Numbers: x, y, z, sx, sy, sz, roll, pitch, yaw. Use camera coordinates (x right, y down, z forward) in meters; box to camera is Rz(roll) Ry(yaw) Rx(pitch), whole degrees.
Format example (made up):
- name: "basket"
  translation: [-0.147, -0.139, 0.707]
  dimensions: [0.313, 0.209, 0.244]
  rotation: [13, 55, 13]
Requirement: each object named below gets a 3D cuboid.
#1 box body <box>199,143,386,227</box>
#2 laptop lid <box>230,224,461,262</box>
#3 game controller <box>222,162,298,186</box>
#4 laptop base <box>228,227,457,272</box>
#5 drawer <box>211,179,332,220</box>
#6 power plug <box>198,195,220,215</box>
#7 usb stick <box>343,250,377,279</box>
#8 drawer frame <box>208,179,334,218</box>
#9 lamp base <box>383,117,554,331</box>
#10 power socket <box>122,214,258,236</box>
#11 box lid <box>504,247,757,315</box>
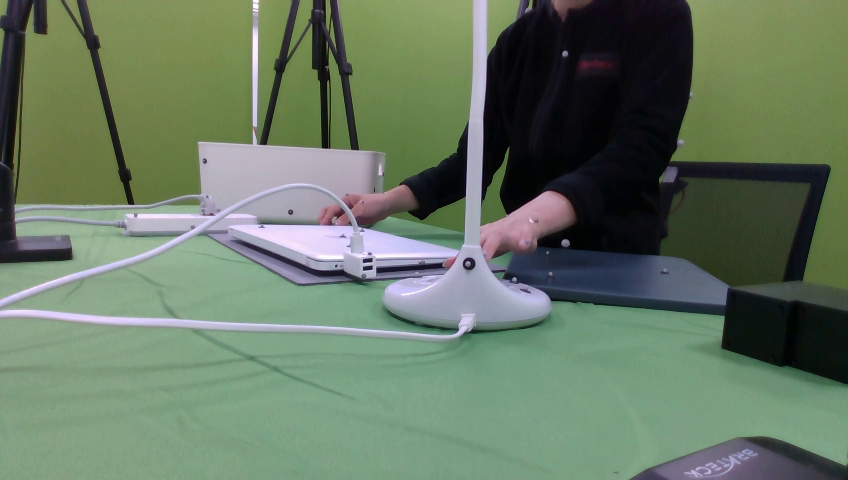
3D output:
- name: "box body"
  translation: [-0.276, -0.124, 1.334]
  dimensions: [0.364, 0.160, 0.254]
  rotation: [3, 7, 1]
- name: "laptop lid"
  translation: [-0.120, 0.000, 0.889]
  dimensions: [0.243, 0.013, 0.355]
  rotation: [1, 7, -33]
- name: "game controller"
  translation: [-0.357, -0.143, 1.321]
  dimensions: [0.156, 0.051, 0.097]
  rotation: [1, 2, -16]
- name: "laptop base"
  translation: [-0.122, 0.012, 0.889]
  dimensions: [0.237, 0.023, 0.352]
  rotation: [2, 6, -35]
- name: "drawer"
  translation: [-0.328, -0.095, 1.332]
  dimensions: [0.212, 0.073, 0.194]
  rotation: [5, 8, 6]
- name: "power plug"
  translation: [-0.387, -0.055, 1.089]
  dimensions: [0.035, 0.052, 0.072]
  rotation: [-1, 7, -22]
- name: "usb stick"
  translation: [-0.076, 0.026, 0.687]
  dimensions: [0.021, 0.027, 0.059]
  rotation: [-8, 8, -31]
- name: "drawer frame"
  translation: [-0.327, -0.093, 1.328]
  dimensions: [0.213, 0.082, 0.202]
  rotation: [-1, 5, 6]
- name: "lamp base"
  translation: [0.045, -0.019, 0.548]
  dimensions: [0.161, 0.180, 0.179]
  rotation: [2, 10, -4]
- name: "power socket"
  translation: [-0.399, -0.028, 1.049]
  dimensions: [0.228, 0.032, 0.072]
  rotation: [-3, 8, -34]
- name: "box lid"
  translation: [0.244, 0.044, 0.793]
  dimensions: [0.263, 0.015, 0.372]
  rotation: [4, 6, 11]
